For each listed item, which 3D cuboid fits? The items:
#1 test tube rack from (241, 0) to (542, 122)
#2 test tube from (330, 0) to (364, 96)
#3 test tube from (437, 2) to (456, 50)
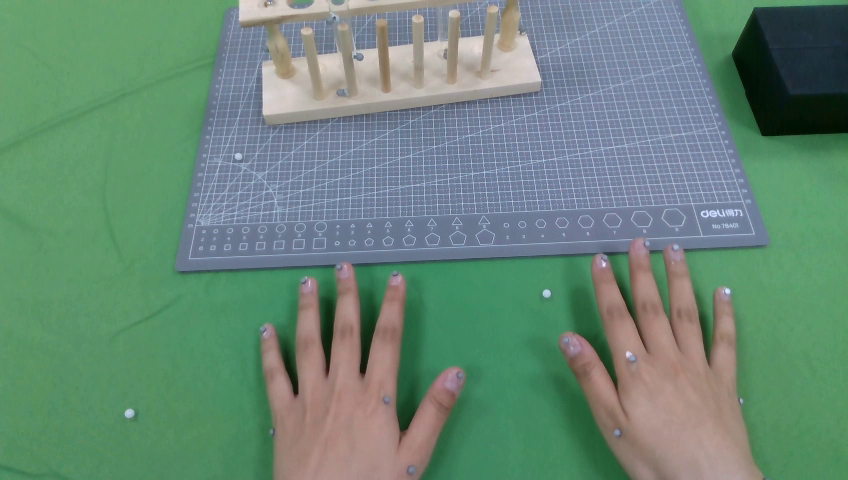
[{"bbox_3d":[-0.021,-0.167,0.512,0.242,0.086,0.066,-8,60,-3],"label":"test tube rack"},{"bbox_3d":[-0.061,-0.168,0.462,0.017,0.152,0.017,-1,58,2],"label":"test tube"},{"bbox_3d":[0.017,-0.215,0.481,0.017,0.151,0.017,-2,55,3],"label":"test tube"}]
